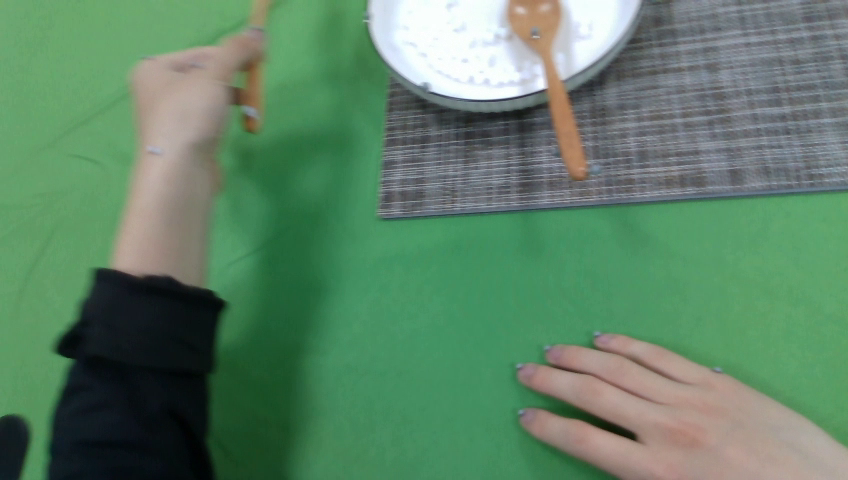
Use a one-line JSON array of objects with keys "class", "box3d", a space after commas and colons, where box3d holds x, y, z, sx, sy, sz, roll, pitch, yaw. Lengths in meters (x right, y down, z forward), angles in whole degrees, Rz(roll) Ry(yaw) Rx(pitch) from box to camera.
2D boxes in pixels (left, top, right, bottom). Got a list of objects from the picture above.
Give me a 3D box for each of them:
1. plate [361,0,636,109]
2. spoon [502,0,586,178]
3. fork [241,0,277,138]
[{"class": "plate", "box3d": [0.056, -0.183, 0.465, 0.207, 0.039, 0.206, -6, 65, 12]}, {"class": "spoon", "box3d": [0.082, -0.115, 0.409, 0.041, 0.022, 0.191, -9, 51, 7]}, {"class": "fork", "box3d": [-0.117, -0.157, 0.447, 0.028, 0.019, 0.205, -5, 58, 5]}]
